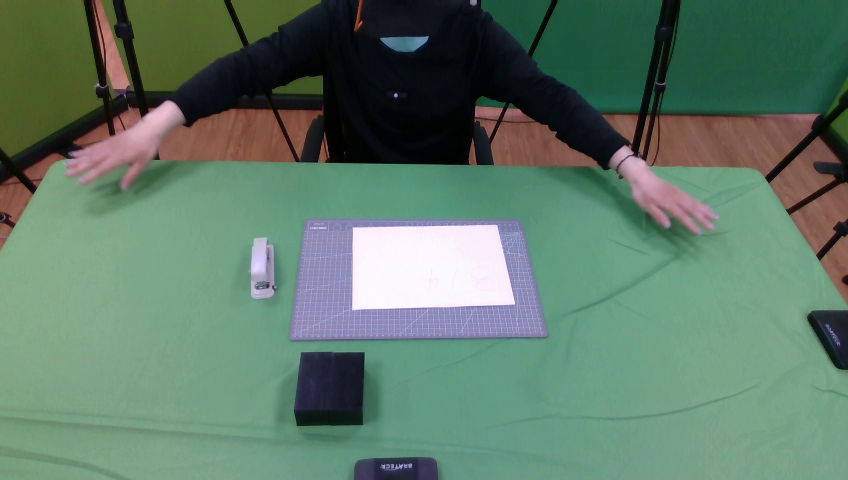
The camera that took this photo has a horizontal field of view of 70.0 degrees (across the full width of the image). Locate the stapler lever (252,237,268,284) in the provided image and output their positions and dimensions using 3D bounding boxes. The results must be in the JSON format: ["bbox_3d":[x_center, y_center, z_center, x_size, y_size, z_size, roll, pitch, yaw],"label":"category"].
[{"bbox_3d":[-0.299,0.031,1.107,0.027,0.040,0.117,-4,45,-11],"label":"stapler lever"}]

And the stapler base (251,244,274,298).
[{"bbox_3d":[-0.300,0.050,1.124,0.041,0.024,0.129,-4,45,-11],"label":"stapler base"}]
